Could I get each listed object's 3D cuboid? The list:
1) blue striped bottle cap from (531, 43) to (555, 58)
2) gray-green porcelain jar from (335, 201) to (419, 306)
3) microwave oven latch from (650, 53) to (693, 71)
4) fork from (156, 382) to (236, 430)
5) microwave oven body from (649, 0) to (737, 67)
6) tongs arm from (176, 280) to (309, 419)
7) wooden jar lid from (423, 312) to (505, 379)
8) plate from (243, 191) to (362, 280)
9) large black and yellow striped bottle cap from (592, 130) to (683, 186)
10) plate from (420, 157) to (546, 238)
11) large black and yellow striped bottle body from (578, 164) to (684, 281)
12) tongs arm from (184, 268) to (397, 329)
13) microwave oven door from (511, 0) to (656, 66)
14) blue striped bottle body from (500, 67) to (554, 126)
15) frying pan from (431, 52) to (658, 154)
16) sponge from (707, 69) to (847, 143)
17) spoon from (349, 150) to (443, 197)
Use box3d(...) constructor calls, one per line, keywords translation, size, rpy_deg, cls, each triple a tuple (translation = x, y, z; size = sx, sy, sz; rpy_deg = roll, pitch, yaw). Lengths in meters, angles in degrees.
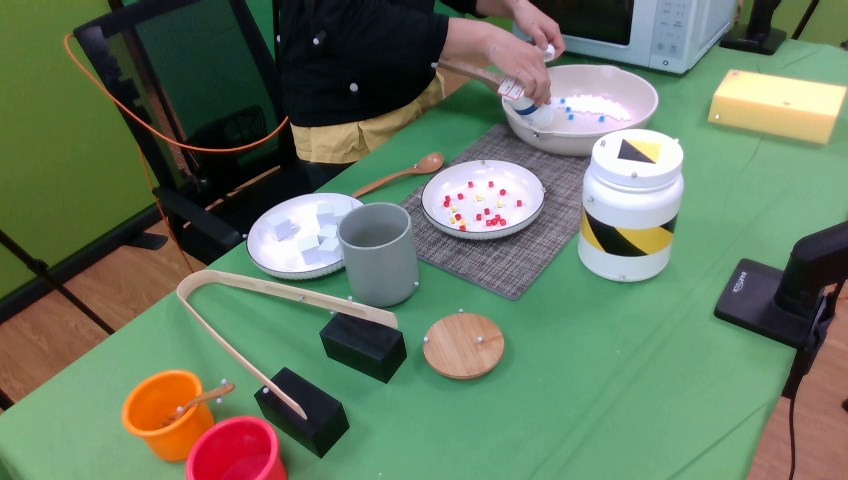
box3d(translation=(0.237, -0.377, 1.203), size=(0.044, 0.020, 0.044), rpy_deg=(12, 12, -2), cls="blue striped bottle cap")
box3d(translation=(-0.064, 0.024, 0.872), size=(0.106, 0.127, 0.105), rpy_deg=(-4, 41, 4), cls="gray-green porcelain jar")
box3d(translation=(0.531, -0.386, 1.301), size=(0.078, 0.029, 0.030), rpy_deg=(26, 51, 33), cls="microwave oven latch")
box3d(translation=(-0.262, 0.189, 0.690), size=(0.018, 0.206, 0.028), rpy_deg=(48, 43, -7), cls="fork")
box3d(translation=(0.475, -0.602, 1.411), size=(0.438, 0.261, 0.327), rpy_deg=(23, 50, 32), cls="microwave oven body")
box3d(translation=(-0.254, 0.133, 0.801), size=(0.028, 0.028, 0.384), rpy_deg=(-41, 41, -23), cls="tongs arm")
box3d(translation=(0.053, 0.142, 0.800), size=(0.108, 0.021, 0.108), rpy_deg=(-5, 39, 4), cls="wooden jar lid")
box3d(translation=(-0.187, -0.005, 0.992), size=(0.207, 0.039, 0.206), rpy_deg=(-3, 40, 3), cls="plate")
box3d(translation=(0.282, -0.111, 0.803), size=(0.115, 0.019, 0.114), rpy_deg=(-3, 41, 3), cls="large black and yellow striped bottle cap")
box3d(translation=(0.099, -0.067, 1.017), size=(0.209, 0.038, 0.208), rpy_deg=(-4, 40, 4), cls="plate")
box3d(translation=(0.292, -0.046, 0.859), size=(0.131, 0.185, 0.130), rpy_deg=(-4, 41, 4), cls="large black and yellow striped bottle body")
box3d(translation=(-0.202, 0.084, 0.848), size=(0.382, 0.027, 0.051), rpy_deg=(11, 45, 35), cls="tongs arm")
box3d(translation=(0.351, -0.540, 1.349), size=(0.353, 0.245, 0.039), rpy_deg=(24, 50, 31), cls="microwave oven door")
box3d(translation=(0.190, -0.251, 1.083), size=(0.063, 0.122, 0.063), rpy_deg=(-16, 61, 30), cls="blue striped bottle body")
box3d(translation=(0.216, -0.302, 1.223), size=(0.484, 0.103, 0.308), rpy_deg=(29, 49, 24), cls="frying pan")
box3d(translation=(0.663, -0.256, 1.141), size=(0.205, 0.061, 0.118), rpy_deg=(18, 47, 28), cls="sponge")
box3d(translation=(-0.051, -0.123, 1.120), size=(0.194, 0.022, 0.041), rpy_deg=(-22, 60, -18), cls="spoon")
